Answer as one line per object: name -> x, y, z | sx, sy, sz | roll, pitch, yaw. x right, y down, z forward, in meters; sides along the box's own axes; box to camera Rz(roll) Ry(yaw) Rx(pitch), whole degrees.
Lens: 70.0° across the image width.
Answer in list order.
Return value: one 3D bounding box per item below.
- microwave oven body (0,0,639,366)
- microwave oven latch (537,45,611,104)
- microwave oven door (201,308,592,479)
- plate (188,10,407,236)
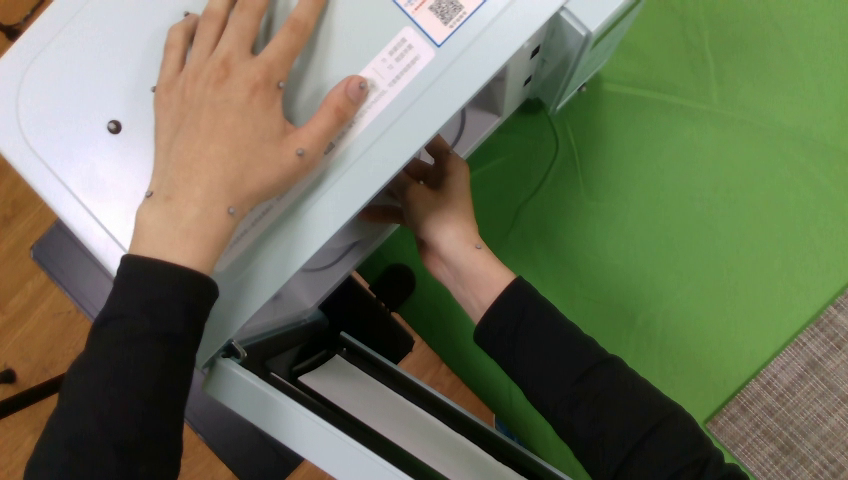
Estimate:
microwave oven body -> -0.086, -0.158, 0.544 | 0.442, 0.260, 0.325 | -45, 86, 4
microwave oven latch -> 0.153, -0.177, 0.619 | 0.079, 0.029, 0.030 | -42, 87, 5
microwave oven door -> 0.010, 0.180, 0.531 | 0.355, 0.244, 0.039 | 31, 93, 5
plate -> -0.115, -0.107, 0.570 | 0.209, 0.038, 0.209 | 0, 90, 7
